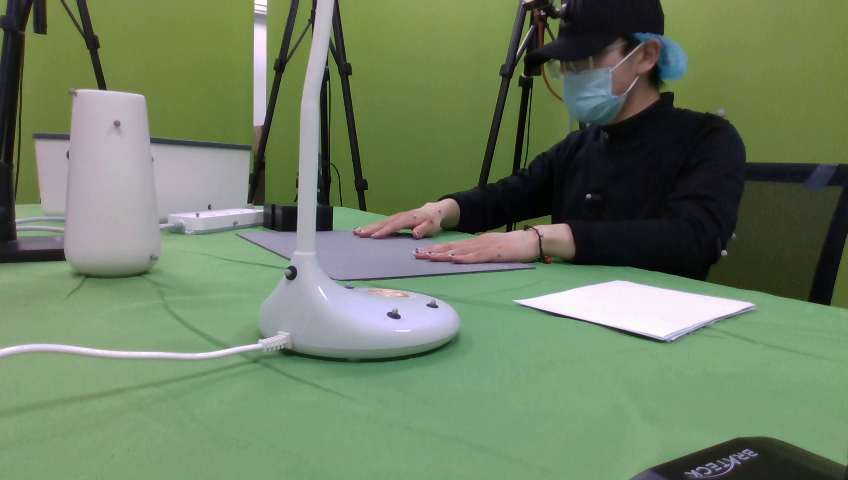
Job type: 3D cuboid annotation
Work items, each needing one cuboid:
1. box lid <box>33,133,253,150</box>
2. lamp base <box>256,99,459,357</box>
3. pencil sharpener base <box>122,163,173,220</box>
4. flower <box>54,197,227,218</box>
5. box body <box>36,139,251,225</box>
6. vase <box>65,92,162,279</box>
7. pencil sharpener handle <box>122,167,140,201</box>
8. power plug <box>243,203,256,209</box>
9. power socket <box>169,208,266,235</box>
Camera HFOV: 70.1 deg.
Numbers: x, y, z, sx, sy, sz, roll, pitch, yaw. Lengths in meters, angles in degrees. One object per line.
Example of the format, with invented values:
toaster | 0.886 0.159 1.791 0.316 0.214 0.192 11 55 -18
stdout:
box lid | -0.555 -0.199 1.249 0.263 0.015 0.372 5 8 15
lamp base | -0.055 -0.013 0.463 0.160 0.180 0.180 6 11 27
pencil sharpener base | -0.539 -0.095 1.174 0.076 0.107 0.061 4 7 21
flower | -0.573 -0.058 1.266 0.044 0.038 0.364 36 20 33
box body | -0.558 -0.126 1.257 0.253 0.160 0.365 4 8 15
vase | -0.347 -0.060 0.673 0.098 0.200 0.098 1 7 0
pencil sharpener handle | -0.585 -0.111 1.193 0.030 0.068 0.036 4 14 21
power plug | -0.378 -0.049 1.271 0.052 0.035 0.072 -4 35 27
power socket | -0.379 -0.038 1.129 0.072 0.032 0.227 4 8 18
